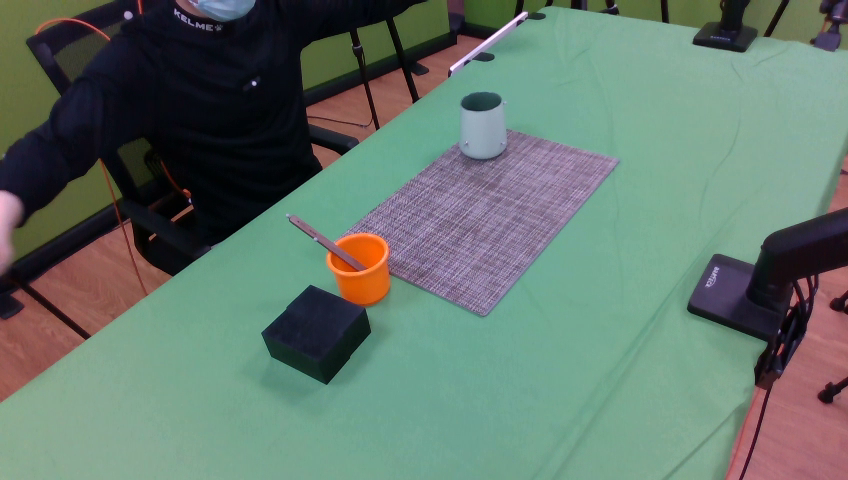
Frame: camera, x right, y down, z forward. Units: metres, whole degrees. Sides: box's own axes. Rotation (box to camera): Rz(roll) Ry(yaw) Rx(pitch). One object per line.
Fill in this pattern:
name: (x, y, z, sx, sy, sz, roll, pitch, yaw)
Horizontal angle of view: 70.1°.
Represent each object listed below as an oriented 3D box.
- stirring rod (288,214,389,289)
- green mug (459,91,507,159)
stirring rod: (-0.122, 0.018, 0.877, 0.177, 0.006, 0.014, 37, 47, -13)
green mug: (0.116, -0.225, 1.144, 0.092, 0.105, 0.125, 14, 45, 23)
